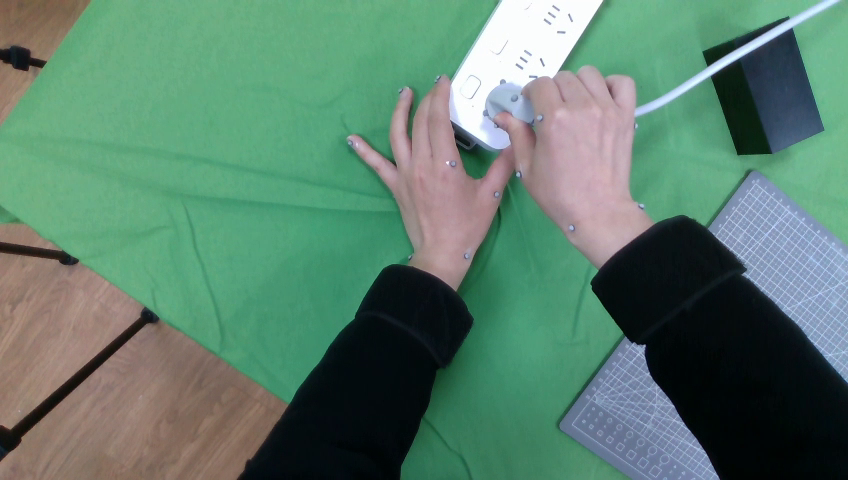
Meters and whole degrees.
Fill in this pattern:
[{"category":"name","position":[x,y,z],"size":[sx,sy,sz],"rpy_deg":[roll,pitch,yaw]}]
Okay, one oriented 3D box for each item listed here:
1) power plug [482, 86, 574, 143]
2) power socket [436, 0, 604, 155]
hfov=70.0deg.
[{"category":"power plug","position":[0.078,-0.092,0.487],"size":[0.073,0.052,0.035],"rpy_deg":[44,92,-8]},{"category":"power socket","position":[0.091,-0.174,0.509],"size":[0.072,0.032,0.227],"rpy_deg":[32,93,-9]}]
